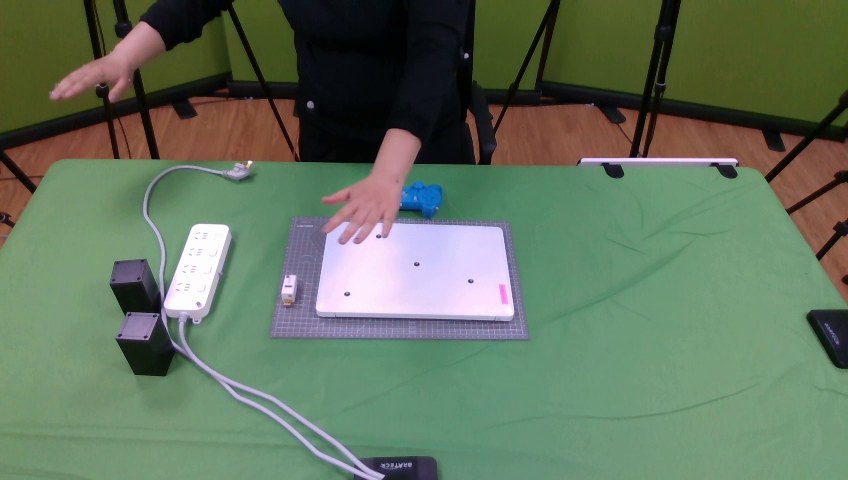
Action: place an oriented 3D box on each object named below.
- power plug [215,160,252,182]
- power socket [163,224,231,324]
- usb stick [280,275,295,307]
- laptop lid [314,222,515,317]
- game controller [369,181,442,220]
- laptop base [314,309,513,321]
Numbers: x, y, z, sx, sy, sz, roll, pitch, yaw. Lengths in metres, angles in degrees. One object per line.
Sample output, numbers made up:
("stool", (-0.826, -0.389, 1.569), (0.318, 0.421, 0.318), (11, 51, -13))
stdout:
("power plug", (-0.409, -0.155, 1.303), (0.072, 0.035, 0.052), (23, 66, 1))
("power socket", (-0.412, 0.052, 1.106), (0.072, 0.033, 0.225), (3, 46, -3))
("usb stick", (-0.244, 0.093, 1.081), (0.021, 0.027, 0.059), (4, 47, -6))
("laptop lid", (-0.016, 0.049, 1.134), (0.357, 0.013, 0.240), (3, 44, -2))
("game controller", (-0.039, -0.092, 1.268), (0.155, 0.052, 0.096), (2, 50, -2))
("laptop base", (-0.017, 0.059, 1.141), (0.354, 0.023, 0.234), (2, 42, -3))
